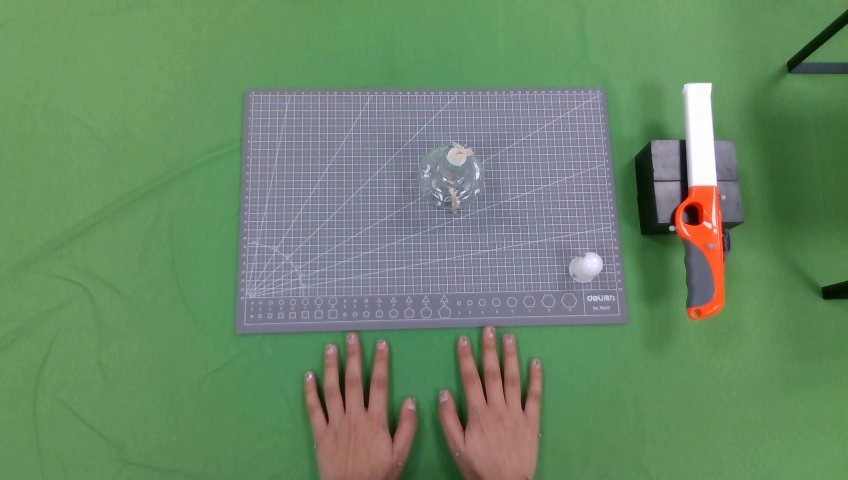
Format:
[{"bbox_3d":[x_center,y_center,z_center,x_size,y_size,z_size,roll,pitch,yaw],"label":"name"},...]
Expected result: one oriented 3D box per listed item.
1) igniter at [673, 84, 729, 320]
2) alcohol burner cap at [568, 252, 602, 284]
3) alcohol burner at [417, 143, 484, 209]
[{"bbox_3d":[0.310,-0.047,0.683,0.057,0.025,0.275,1,76,9],"label":"igniter"},{"bbox_3d":[0.187,0.030,0.696,0.034,0.048,0.033,1,76,-2],"label":"alcohol burner cap"},{"bbox_3d":[0.031,-0.077,0.677,0.078,0.119,0.077,1,77,-4],"label":"alcohol burner"}]
